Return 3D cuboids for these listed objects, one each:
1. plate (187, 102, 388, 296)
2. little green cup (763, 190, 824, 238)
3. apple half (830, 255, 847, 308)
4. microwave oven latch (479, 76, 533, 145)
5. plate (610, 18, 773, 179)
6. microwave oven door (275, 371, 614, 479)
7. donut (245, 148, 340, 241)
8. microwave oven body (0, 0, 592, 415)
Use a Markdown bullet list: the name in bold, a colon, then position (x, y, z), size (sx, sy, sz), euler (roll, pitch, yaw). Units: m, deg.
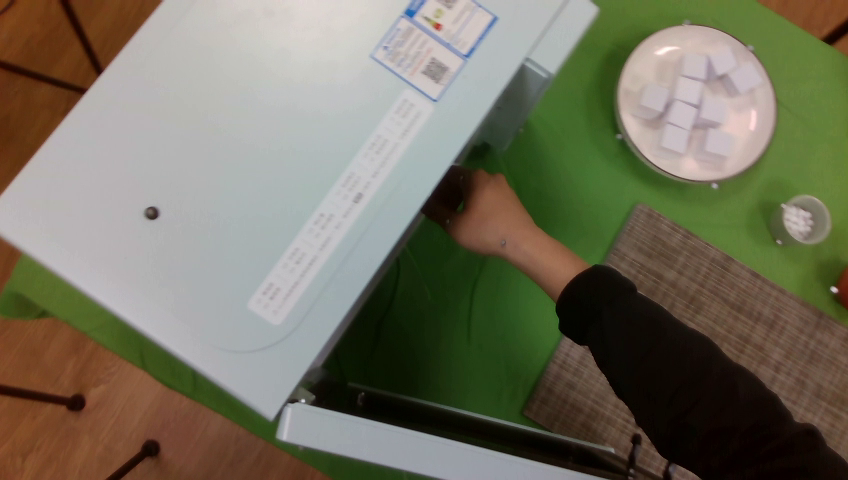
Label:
- **plate**: position (-0.143, -0.043, 0.649), size (0.209, 0.038, 0.208), euler (1, 83, -4)
- **little green cup**: position (0.462, -0.030, 0.762), size (0.061, 0.039, 0.061), euler (1, 82, -4)
- **apple half**: position (0.533, 0.050, 0.741), size (0.053, 0.075, 0.080), euler (4, 86, 1)
- **microwave oven latch**: position (0.098, -0.155, 0.729), size (0.030, 0.029, 0.079), euler (36, 82, 0)
- **plate**: position (0.334, -0.176, 0.770), size (0.208, 0.039, 0.207), euler (1, 82, -5)
- **microwave oven door**: position (0.052, 0.193, 0.578), size (0.356, 0.244, 0.039), euler (15, 80, -3)
- **donut**: position (-0.138, -0.047, 0.638), size (0.099, 0.048, 0.099), euler (0, 85, -4)
- **microwave oven body**: position (-0.115, -0.105, 0.607), size (0.326, 0.260, 0.441), euler (34, 82, 0)
